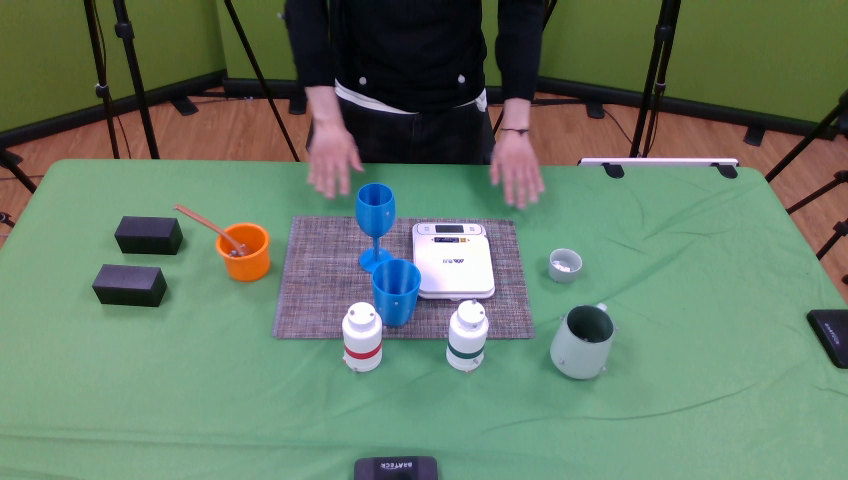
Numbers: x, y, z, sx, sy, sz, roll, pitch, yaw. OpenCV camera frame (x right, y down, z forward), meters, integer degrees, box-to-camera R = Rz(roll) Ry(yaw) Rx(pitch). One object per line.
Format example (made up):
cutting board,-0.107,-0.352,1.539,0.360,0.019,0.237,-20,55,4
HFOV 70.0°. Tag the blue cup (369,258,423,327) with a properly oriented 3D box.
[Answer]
blue cup,-0.051,0.097,1.039,0.093,0.101,0.092,3,43,-2

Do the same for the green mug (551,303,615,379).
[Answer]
green mug,0.271,0.157,1.007,0.092,0.105,0.125,27,50,21

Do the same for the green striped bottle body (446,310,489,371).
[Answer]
green striped bottle body,0.070,0.155,0.984,0.063,0.120,0.063,2,46,-2

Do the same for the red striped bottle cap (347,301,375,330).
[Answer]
red striped bottle cap,-0.097,0.116,0.934,0.044,0.018,0.044,3,49,-3

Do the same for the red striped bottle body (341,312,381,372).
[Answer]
red striped bottle body,-0.100,0.154,0.972,0.063,0.120,0.062,2,46,-2

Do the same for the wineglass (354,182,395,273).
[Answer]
wineglass,-0.089,-0.020,1.098,0.074,0.173,0.073,2,46,-2

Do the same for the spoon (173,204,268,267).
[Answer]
spoon,-0.363,-0.009,1.089,0.021,0.195,0.041,-35,31,23

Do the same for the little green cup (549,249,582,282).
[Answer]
little green cup,0.268,0.050,1.156,0.061,0.039,0.061,2,46,-1

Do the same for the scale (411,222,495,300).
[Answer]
scale,0.052,0.031,1.158,0.149,0.032,0.199,1,46,-4

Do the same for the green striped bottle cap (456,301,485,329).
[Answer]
green striped bottle cap,0.073,0.116,0.943,0.044,0.020,0.044,3,46,-3

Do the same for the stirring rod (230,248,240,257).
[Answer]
stirring rod,-0.330,0.023,1.059,0.014,0.176,0.006,33,79,-11
